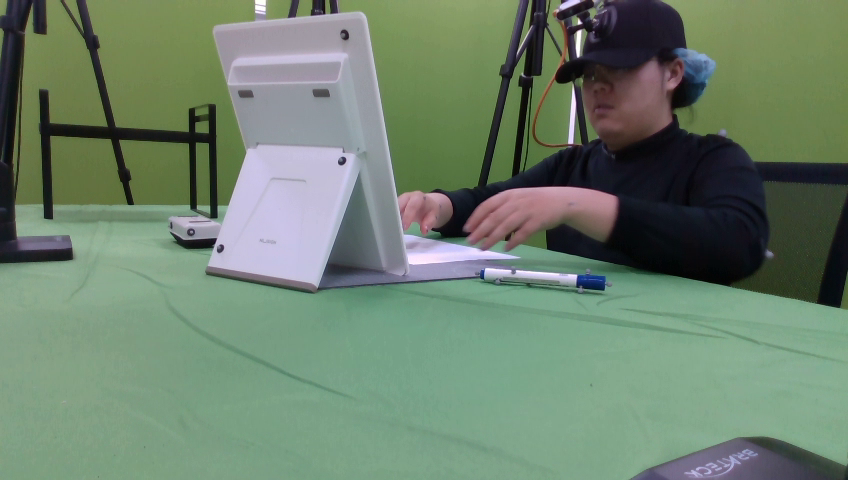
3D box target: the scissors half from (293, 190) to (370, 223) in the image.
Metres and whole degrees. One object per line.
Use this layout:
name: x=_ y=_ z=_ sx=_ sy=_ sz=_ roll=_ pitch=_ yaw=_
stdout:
scissors half: x=-0.205 y=-0.078 z=1.338 sx=0.175 sy=0.040 sz=0.013 roll=22 pitch=11 yaw=-8

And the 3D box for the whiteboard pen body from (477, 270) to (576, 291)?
whiteboard pen body: x=0.131 y=0.048 z=0.706 sx=0.140 sy=0.017 sz=0.017 roll=4 pitch=8 yaw=18

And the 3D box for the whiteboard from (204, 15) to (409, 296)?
whiteboard: x=-0.166 y=-0.072 z=0.669 sx=0.216 sy=0.305 sz=0.144 roll=8 pitch=30 yaw=30

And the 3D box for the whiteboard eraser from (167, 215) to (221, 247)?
whiteboard eraser: x=-0.350 y=-0.014 z=0.920 sx=0.056 sy=0.042 sz=0.112 roll=0 pitch=7 yaw=-35

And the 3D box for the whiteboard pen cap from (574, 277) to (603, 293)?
whiteboard pen cap: x=0.186 y=0.051 z=0.687 sx=0.033 sy=0.018 sz=0.018 roll=4 pitch=8 yaw=17

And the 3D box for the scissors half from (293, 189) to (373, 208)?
scissors half: x=-0.201 y=-0.096 z=1.333 sx=0.175 sy=0.040 sz=0.013 roll=5 pitch=18 yaw=-4
